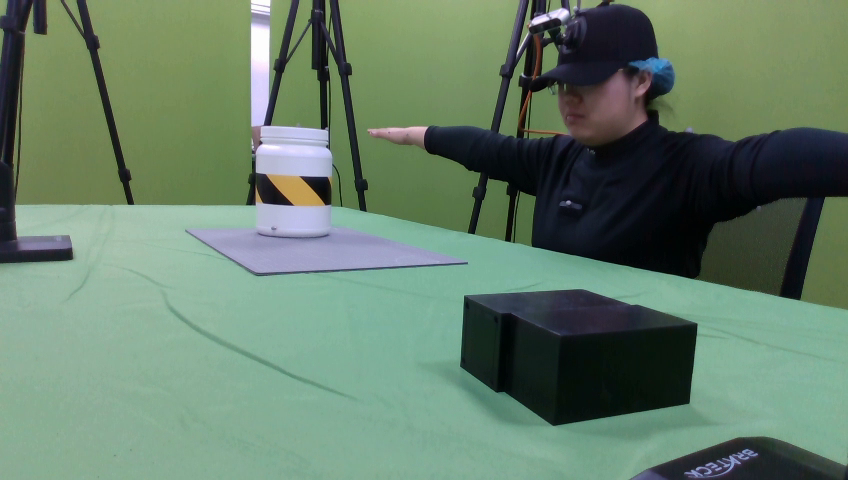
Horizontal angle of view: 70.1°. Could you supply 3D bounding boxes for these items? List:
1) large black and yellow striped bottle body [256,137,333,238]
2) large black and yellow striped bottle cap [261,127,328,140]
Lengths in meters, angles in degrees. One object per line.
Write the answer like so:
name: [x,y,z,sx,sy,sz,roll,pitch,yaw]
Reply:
large black and yellow striped bottle body: [-0.228,-0.102,1.063,0.131,0.184,0.130,3,8,0]
large black and yellow striped bottle cap: [-0.224,-0.184,1.051,0.115,0.019,0.115,2,7,0]
